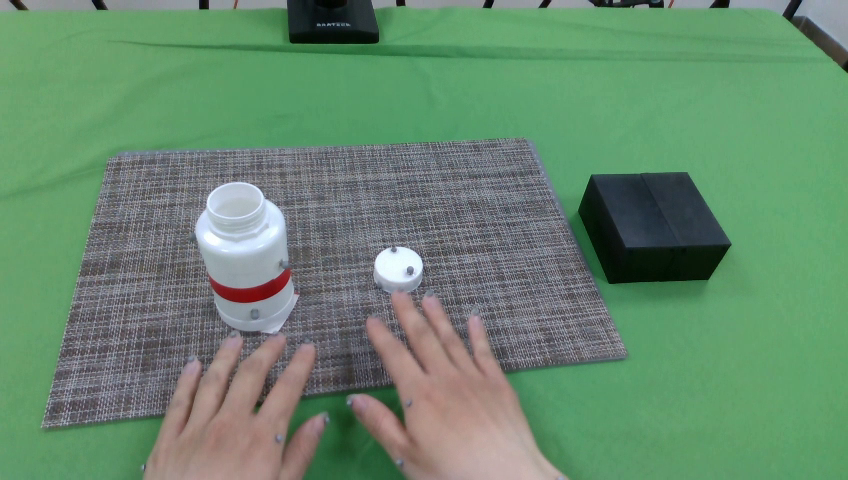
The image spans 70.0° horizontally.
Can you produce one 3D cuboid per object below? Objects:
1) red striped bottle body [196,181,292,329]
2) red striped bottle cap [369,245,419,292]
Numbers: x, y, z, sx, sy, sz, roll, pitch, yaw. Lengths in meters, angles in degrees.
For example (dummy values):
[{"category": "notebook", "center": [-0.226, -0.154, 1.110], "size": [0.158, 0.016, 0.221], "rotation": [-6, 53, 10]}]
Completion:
[{"category": "red striped bottle body", "center": [-0.138, 0.011, 0.469], "size": [0.063, 0.120, 0.062], "rotation": [4, 47, -3]}, {"category": "red striped bottle cap", "center": [-0.026, 0.025, 0.541], "size": [0.044, 0.018, 0.044], "rotation": [8, 44, -8]}]
